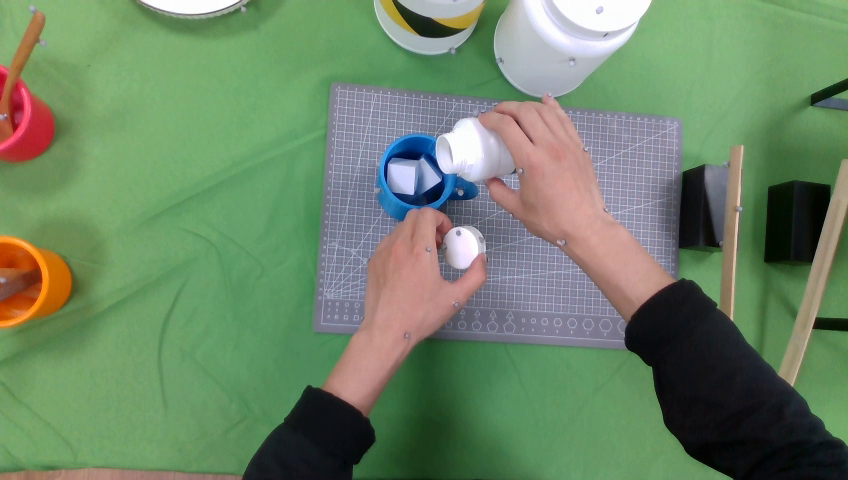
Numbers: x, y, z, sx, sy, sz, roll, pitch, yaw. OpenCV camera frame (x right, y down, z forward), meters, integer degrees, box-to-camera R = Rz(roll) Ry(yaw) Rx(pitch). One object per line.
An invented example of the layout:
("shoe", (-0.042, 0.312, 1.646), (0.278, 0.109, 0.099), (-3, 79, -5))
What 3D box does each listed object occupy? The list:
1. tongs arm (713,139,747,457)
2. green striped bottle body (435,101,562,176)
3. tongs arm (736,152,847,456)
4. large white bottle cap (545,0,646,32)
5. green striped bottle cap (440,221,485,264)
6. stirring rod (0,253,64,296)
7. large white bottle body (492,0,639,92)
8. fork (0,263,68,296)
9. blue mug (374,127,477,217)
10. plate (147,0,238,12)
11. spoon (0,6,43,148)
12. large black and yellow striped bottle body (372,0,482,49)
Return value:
("tongs arm", (0.376, 0.075, 0.726), (0.051, 0.026, 0.385), (-1, 98, -10))
("green striped bottle body", (0.071, -0.100, 0.602), (0.119, 0.063, 0.063), (-13, 88, -23))
("tongs arm", (0.457, 0.081, 0.739), (0.028, 0.027, 0.388), (12, 96, -15))
("large white bottle cap", (0.168, -0.263, 0.594), (0.115, 0.018, 0.114), (1, 86, -8))
("green striped bottle cap", (0.039, 0.003, 0.611), (0.044, 0.020, 0.044), (1, 92, 32))
("stirring rod", (-0.441, 0.058, 0.603), (0.014, 0.006, 0.175), (51, 40, -5))
("large white bottle body", (0.158, -0.256, 0.677), (0.131, 0.184, 0.130), (1, 86, -7))
("fork", (-0.461, 0.019, 0.597), (0.209, 0.018, 0.028), (29, 79, -48))
("blue mug", (0.002, -0.070, 0.683), (0.117, 0.106, 0.082), (12, 84, -7))
("plate", (-0.270, -0.362, 0.702), (0.208, 0.039, 0.207), (1, 87, -7))
("spoon", (-0.421, -0.161, 0.616), (0.041, 0.021, 0.194), (50, 125, 1))
("large black and yellow striped bottle body", (0.011, -0.303, 0.661), (0.131, 0.184, 0.130), (1, 85, -7))
